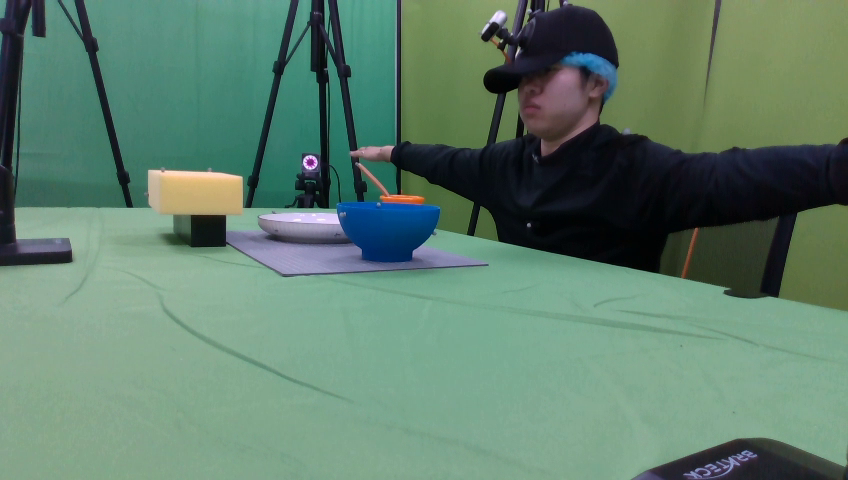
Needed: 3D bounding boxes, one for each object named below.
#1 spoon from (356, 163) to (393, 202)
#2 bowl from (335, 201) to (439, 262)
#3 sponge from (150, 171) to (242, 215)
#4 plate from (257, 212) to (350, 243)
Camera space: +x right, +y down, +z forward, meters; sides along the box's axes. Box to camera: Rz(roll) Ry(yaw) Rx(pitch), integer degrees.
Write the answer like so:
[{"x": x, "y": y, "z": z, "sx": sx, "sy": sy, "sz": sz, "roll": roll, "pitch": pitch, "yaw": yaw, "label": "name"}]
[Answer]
[{"x": -0.078, "y": -0.090, "z": 1.233, "sx": 0.021, "sy": 0.193, "sz": 0.042, "roll": -44, "pitch": -16, "yaw": 25, "label": "spoon"}, {"x": -0.054, "y": -0.012, "z": 0.871, "sx": 0.151, "sy": 0.077, "sz": 0.151, "roll": 2, "pitch": 8, "yaw": 0, "label": "bowl"}, {"x": -0.379, "y": -0.079, "z": 0.994, "sx": 0.119, "sy": 0.061, "sz": 0.206, "roll": -1, "pitch": 8, "yaw": -29, "label": "sponge"}, {"x": -0.189, "y": -0.023, "z": 1.072, "sx": 0.209, "sy": 0.038, "sz": 0.209, "roll": 3, "pitch": 7, "yaw": 0, "label": "plate"}]
